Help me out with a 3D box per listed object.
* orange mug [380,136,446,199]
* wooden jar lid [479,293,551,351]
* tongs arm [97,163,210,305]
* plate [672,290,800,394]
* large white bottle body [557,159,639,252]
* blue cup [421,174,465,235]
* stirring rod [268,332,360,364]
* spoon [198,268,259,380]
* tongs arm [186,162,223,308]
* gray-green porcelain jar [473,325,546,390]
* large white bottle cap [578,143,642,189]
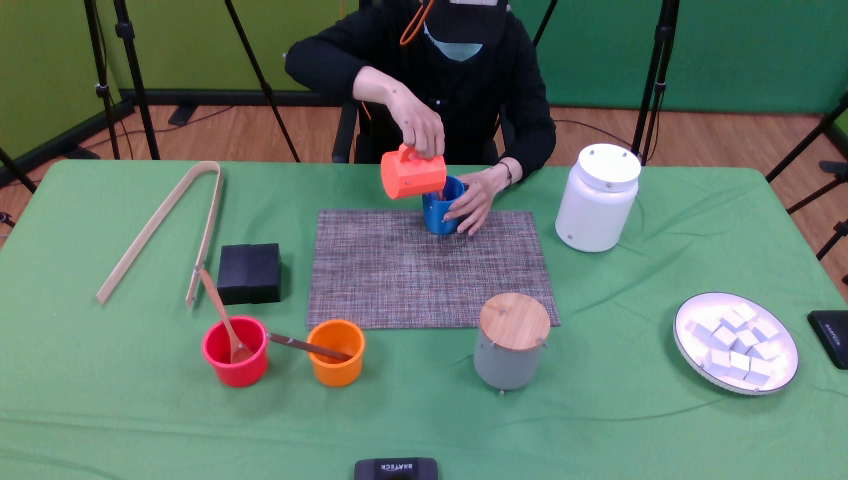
[{"bbox_3d":[-0.016,-0.136,1.102,0.101,0.126,0.083,-9,57,-26],"label":"orange mug"},{"bbox_3d":[0.137,0.127,0.925,0.108,0.021,0.107,1,47,-1],"label":"wooden jar lid"},{"bbox_3d":[-0.520,-0.027,1.184,0.028,0.028,0.385,5,45,12],"label":"tongs arm"},{"bbox_3d":[0.533,0.179,1.050,0.208,0.039,0.206,2,46,-2],"label":"plate"},{"bbox_3d":[0.340,-0.081,1.185,0.131,0.185,0.130,2,46,-1],"label":"large white bottle body"},{"bbox_3d":[0.036,-0.066,1.201,0.092,0.101,0.092,0,45,0],"label":"blue cup"},{"bbox_3d":[-0.167,0.169,0.941,0.177,0.006,0.014,26,26,-40],"label":"stirring rod"},{"bbox_3d":[-0.313,0.133,0.962,0.041,0.021,0.194,-24,96,-21],"label":"spoon"},{"bbox_3d":[-0.436,-0.024,1.181,0.051,0.027,0.382,-3,45,0],"label":"tongs arm"},{"bbox_3d":[0.134,0.170,0.969,0.106,0.127,0.105,2,46,-2],"label":"gray-green porcelain jar"},{"bbox_3d":[0.344,-0.139,1.123,0.115,0.018,0.114,2,46,-2],"label":"large white bottle cap"}]
